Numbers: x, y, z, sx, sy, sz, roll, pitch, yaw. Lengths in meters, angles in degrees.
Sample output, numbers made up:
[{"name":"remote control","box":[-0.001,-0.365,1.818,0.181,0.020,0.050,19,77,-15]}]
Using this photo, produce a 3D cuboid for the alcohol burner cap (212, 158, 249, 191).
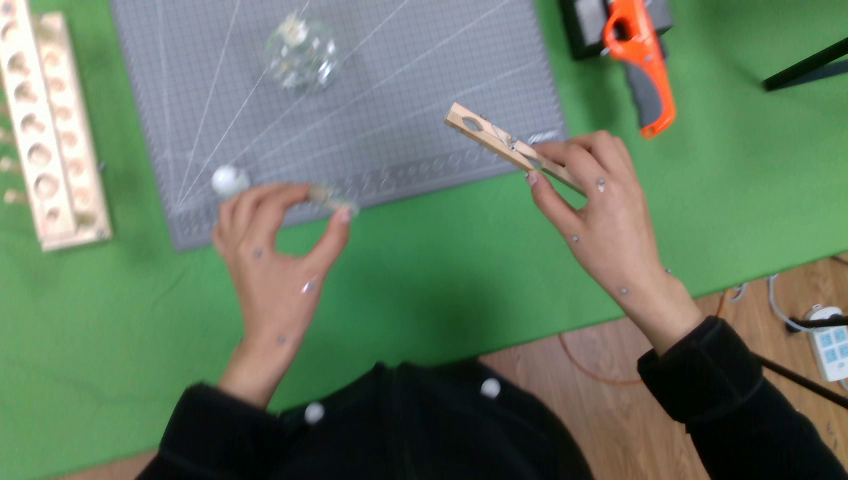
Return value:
[{"name":"alcohol burner cap","box":[-0.202,-0.070,0.626,0.034,0.048,0.034,0,88,-6]}]

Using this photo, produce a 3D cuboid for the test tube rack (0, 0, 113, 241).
[{"name":"test tube rack","box":[-0.379,-0.124,0.591,0.067,0.085,0.242,-12,90,-6]}]

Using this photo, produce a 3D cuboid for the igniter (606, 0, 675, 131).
[{"name":"igniter","box":[0.214,-0.252,0.636,0.057,0.025,0.276,-15,90,6]}]

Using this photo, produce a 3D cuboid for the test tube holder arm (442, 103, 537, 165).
[{"name":"test tube holder arm","box":[0.055,-0.086,0.494,0.088,0.015,0.010,26,90,-11]}]

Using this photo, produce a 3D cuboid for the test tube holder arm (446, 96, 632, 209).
[{"name":"test tube holder arm","box":[0.098,-0.071,0.503,0.179,0.015,0.013,26,90,-11]}]

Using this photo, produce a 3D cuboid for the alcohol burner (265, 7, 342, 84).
[{"name":"alcohol burner","box":[-0.121,-0.199,0.602,0.078,0.119,0.078,0,90,-6]}]

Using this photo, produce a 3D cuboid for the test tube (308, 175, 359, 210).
[{"name":"test tube","box":[-0.071,-0.037,0.491,0.017,0.150,0.017,0,89,2]}]
